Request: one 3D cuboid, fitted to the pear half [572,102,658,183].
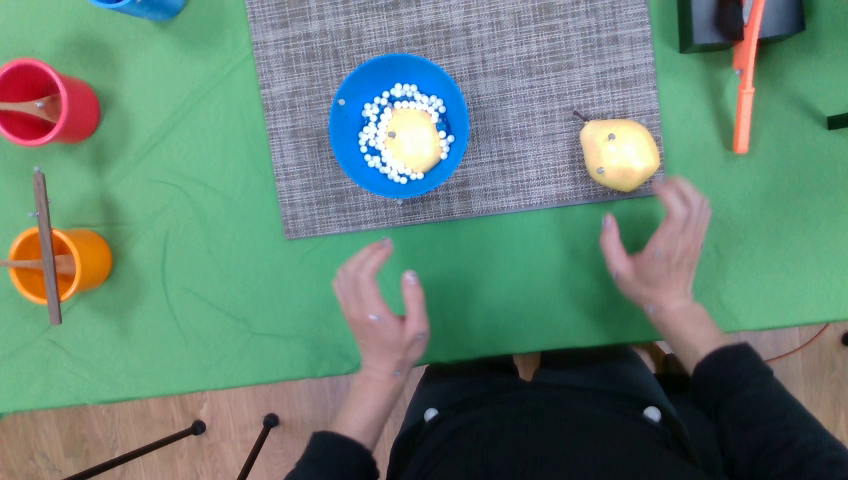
[{"bbox_3d":[0.203,-0.114,0.662,0.109,0.056,0.076,42,93,3],"label":"pear half"}]

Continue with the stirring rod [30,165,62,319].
[{"bbox_3d":[-0.430,0.004,0.689,0.014,0.006,0.176,-3,97,3],"label":"stirring rod"}]

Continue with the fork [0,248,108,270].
[{"bbox_3d":[-0.480,0.018,0.697,0.209,0.018,0.028,6,109,-39],"label":"fork"}]

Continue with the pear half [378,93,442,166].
[{"bbox_3d":[-0.020,-0.124,0.661,0.070,0.031,0.088,-34,89,7],"label":"pear half"}]

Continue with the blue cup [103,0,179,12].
[{"bbox_3d":[-0.320,-0.295,0.668,0.092,0.100,0.093,1,97,8],"label":"blue cup"}]

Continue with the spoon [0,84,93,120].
[{"bbox_3d":[-0.482,-0.158,0.680,0.195,0.021,0.042,-7,100,-37],"label":"spoon"}]

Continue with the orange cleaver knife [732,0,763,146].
[{"bbox_3d":[0.330,-0.203,0.625,0.012,0.076,0.213,-5,125,12],"label":"orange cleaver knife"}]

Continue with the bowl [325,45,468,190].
[{"bbox_3d":[-0.025,-0.130,0.667,0.151,0.077,0.151,1,97,6],"label":"bowl"}]
